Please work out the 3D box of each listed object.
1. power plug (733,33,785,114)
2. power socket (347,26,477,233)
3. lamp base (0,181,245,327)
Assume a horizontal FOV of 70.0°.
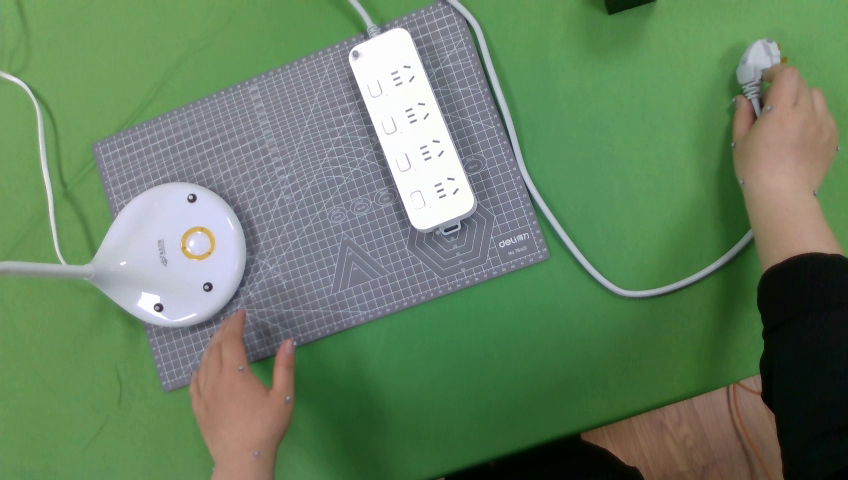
[{"bbox_3d":[0.327,-0.164,0.591,0.053,0.035,0.073,-16,108,-14],"label":"power plug"},{"bbox_3d":[-0.013,-0.116,0.631,0.072,0.032,0.226,-22,84,6],"label":"power socket"},{"bbox_3d":[-0.297,0.016,0.593,0.179,0.181,0.160,-26,83,9],"label":"lamp base"}]
